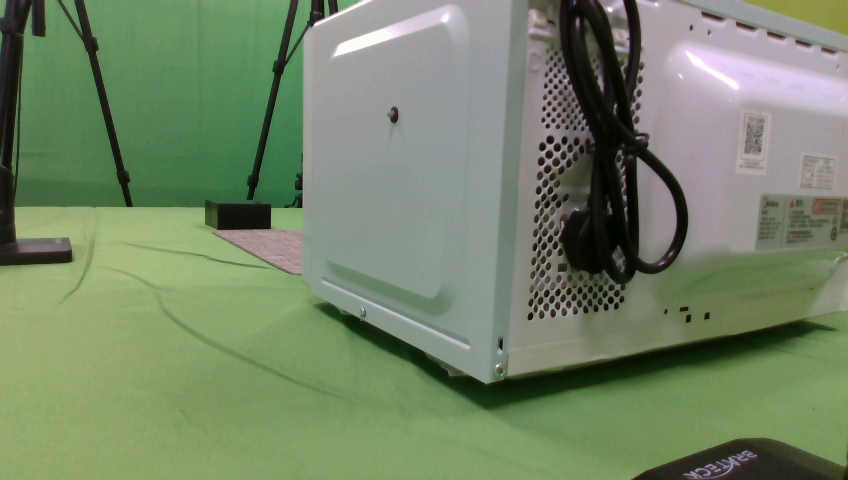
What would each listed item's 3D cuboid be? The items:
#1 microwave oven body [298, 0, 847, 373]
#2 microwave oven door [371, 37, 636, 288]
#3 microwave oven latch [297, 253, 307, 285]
[{"bbox_3d":[0.151,-0.055,0.543,0.444,0.260,0.324,-1,7,-33],"label":"microwave oven body"},{"bbox_3d":[0.109,-0.080,0.686,0.358,0.243,0.039,-2,9,-33],"label":"microwave oven door"},{"bbox_3d":[-0.082,0.027,0.582,0.079,0.029,0.030,-1,7,-32],"label":"microwave oven latch"}]
